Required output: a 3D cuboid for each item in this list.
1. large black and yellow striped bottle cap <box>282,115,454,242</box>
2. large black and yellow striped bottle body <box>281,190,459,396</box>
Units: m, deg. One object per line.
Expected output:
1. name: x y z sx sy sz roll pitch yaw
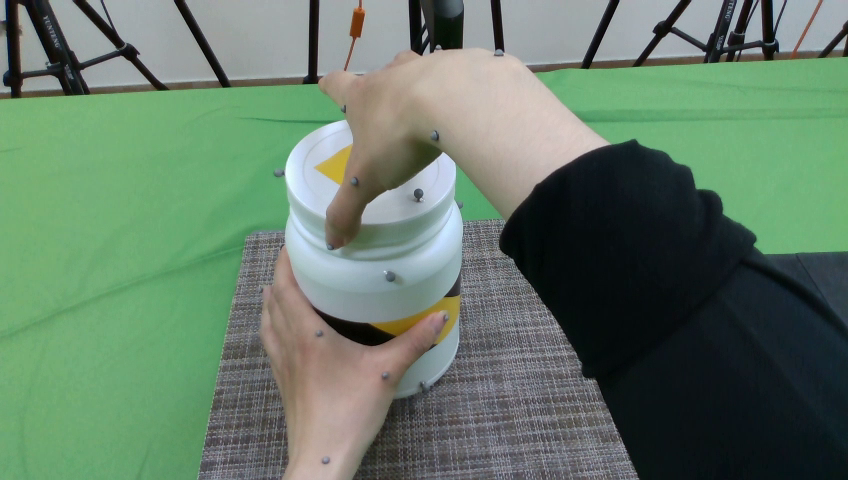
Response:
1. large black and yellow striped bottle cap: -0.037 -0.046 0.411 0.115 0.019 0.114 1 46 -1
2. large black and yellow striped bottle body: -0.038 0.022 0.477 0.131 0.185 0.129 0 44 1
